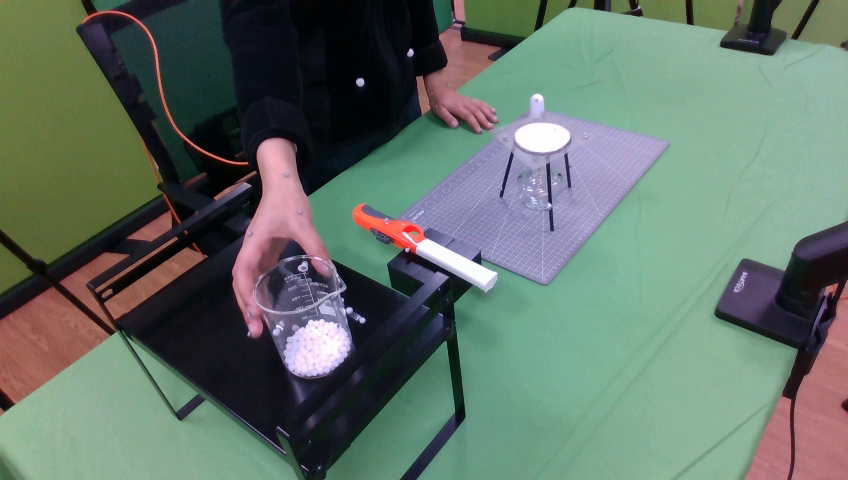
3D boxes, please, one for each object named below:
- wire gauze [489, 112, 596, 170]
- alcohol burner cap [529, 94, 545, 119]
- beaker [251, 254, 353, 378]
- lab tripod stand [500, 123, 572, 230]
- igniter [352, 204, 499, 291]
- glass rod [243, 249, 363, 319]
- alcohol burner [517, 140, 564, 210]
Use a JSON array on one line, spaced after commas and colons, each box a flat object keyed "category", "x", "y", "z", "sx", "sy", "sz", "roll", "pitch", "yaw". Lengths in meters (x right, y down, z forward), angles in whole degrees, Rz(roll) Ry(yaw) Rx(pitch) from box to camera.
[{"category": "wire gauze", "x": 0.183, "y": -0.161, "z": 0.942, "sx": 0.122, "sy": 0.011, "sz": 0.124, "roll": -24, "pitch": 44, "yaw": -18}, {"category": "alcohol burner cap", "x": 0.233, "y": -0.277, "z": 1.247, "sx": 0.034, "sy": 0.048, "sz": 0.033, "roll": -5, "pitch": 41, "yaw": 5}, {"category": "beaker", "x": -0.106, "y": 0.074, "z": 0.565, "sx": 0.084, "sy": 0.101, "sz": 0.073, "roll": -1, "pitch": 42, "yaw": 8}, {"category": "lab tripod stand", "x": 0.194, "y": -0.110, "z": 0.985, "sx": 0.148, "sy": 0.132, "sz": 0.147, "roll": -3, "pitch": 41, "yaw": 3}, {"category": "igniter", "x": -0.009, "y": 0.005, "z": 0.895, "sx": 0.274, "sy": 0.025, "sz": 0.057, "roll": 27, "pitch": 48, "yaw": 32}, {"category": "glass rod", "x": -0.140, "y": 0.046, "z": 0.674, "sx": 0.198, "sy": 0.008, "sz": 0.008, "roll": 24, "pitch": 50, "yaw": 32}, {"category": "alcohol burner", "x": 0.193, "y": -0.110, "z": 1.001, "sx": 0.078, "sy": 0.119, "sz": 0.077, "roll": -5, "pitch": 38, "yaw": 5}]
